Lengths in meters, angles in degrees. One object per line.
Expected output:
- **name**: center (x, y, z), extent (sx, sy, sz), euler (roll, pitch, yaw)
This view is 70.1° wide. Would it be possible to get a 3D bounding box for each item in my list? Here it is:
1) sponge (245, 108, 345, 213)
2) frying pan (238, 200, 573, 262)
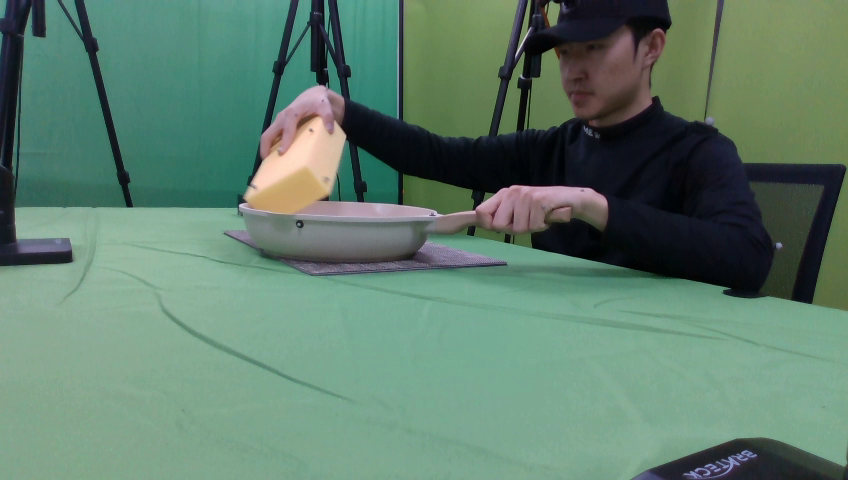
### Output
- **sponge**: center (-0.205, -0.124, 0.988), extent (0.118, 0.061, 0.206), euler (-27, 31, 18)
- **frying pan**: center (-0.033, -0.025, 0.867), extent (0.486, 0.102, 0.308), euler (-3, 5, 25)
